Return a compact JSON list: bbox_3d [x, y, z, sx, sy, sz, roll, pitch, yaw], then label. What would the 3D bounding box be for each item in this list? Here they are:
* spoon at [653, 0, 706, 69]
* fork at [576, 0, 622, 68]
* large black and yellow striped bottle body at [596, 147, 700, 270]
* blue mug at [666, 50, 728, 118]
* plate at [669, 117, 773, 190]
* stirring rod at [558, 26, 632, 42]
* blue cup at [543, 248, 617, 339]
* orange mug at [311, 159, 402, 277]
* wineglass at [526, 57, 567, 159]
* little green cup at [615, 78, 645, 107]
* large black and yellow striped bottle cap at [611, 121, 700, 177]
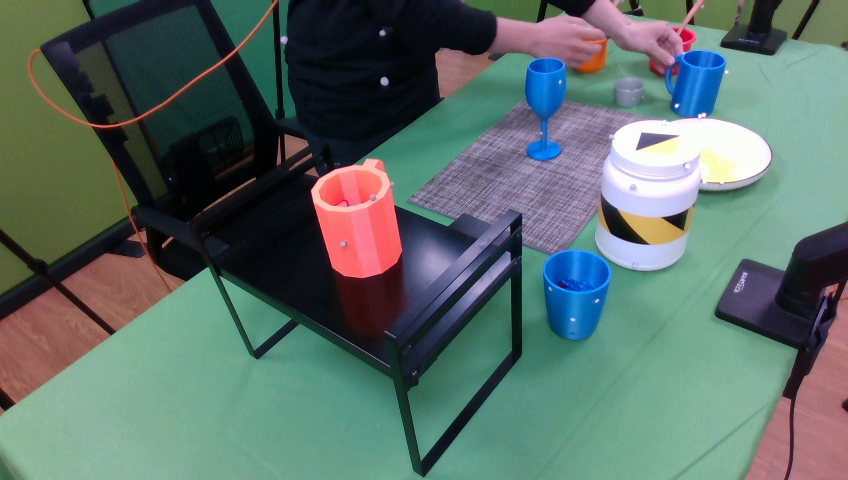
[{"bbox_3d":[0.570,-0.461,1.334,0.041,0.022,0.193,39,102,41],"label":"spoon"},{"bbox_3d":[0.409,-0.484,1.381,0.028,0.019,0.207,37,101,44],"label":"fork"},{"bbox_3d":[0.323,-0.062,0.877,0.131,0.185,0.130,-5,40,4],"label":"large black and yellow striped bottle body"},{"bbox_3d":[0.528,-0.314,1.195,0.082,0.106,0.115,-28,47,-23],"label":"blue mug"},{"bbox_3d":[0.495,-0.149,1.063,0.209,0.038,0.208,-5,40,4],"label":"plate"},{"bbox_3d":[0.381,-0.463,1.356,0.175,0.006,0.014,22,48,30],"label":"stirring rod"},{"bbox_3d":[0.199,0.076,0.797,0.092,0.100,0.092,-4,39,4],"label":"blue cup"},{"bbox_3d":[-0.069,-0.034,0.694,0.083,0.101,0.126,5,46,16],"label":"orange mug"},{"bbox_3d":[0.221,-0.237,1.097,0.074,0.173,0.073,-4,41,4],"label":"wineglass"},{"bbox_3d":[0.426,-0.306,1.257,0.061,0.039,0.061,-4,40,4],"label":"little green cup"},{"bbox_3d":[0.314,-0.126,0.823,0.115,0.019,0.114,-4,42,4],"label":"large black and yellow striped bottle cap"}]
